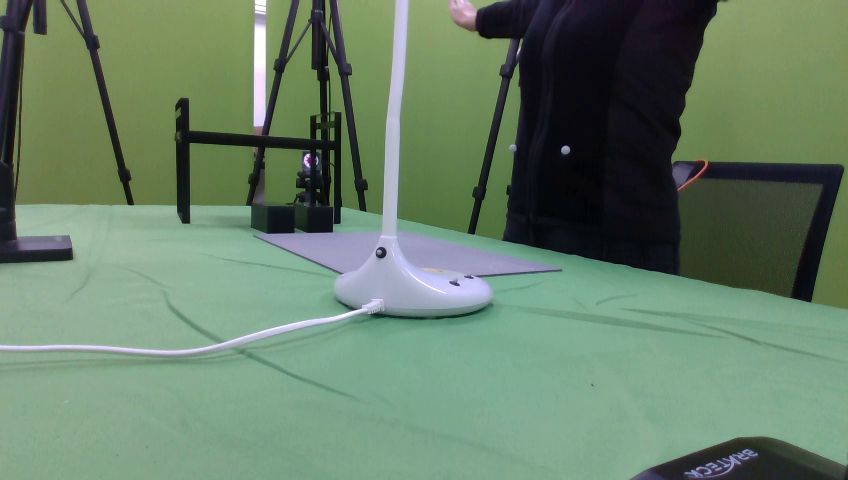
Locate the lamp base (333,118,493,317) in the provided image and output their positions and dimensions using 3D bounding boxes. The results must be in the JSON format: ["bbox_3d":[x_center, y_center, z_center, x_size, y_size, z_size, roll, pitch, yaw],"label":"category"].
[{"bbox_3d":[-0.012,-0.025,0.585,0.160,0.180,0.179,4,10,15],"label":"lamp base"}]

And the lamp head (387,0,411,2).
[{"bbox_3d":[-0.023,-0.317,0.602,0.112,0.112,0.123,4,-27,12],"label":"lamp head"}]
